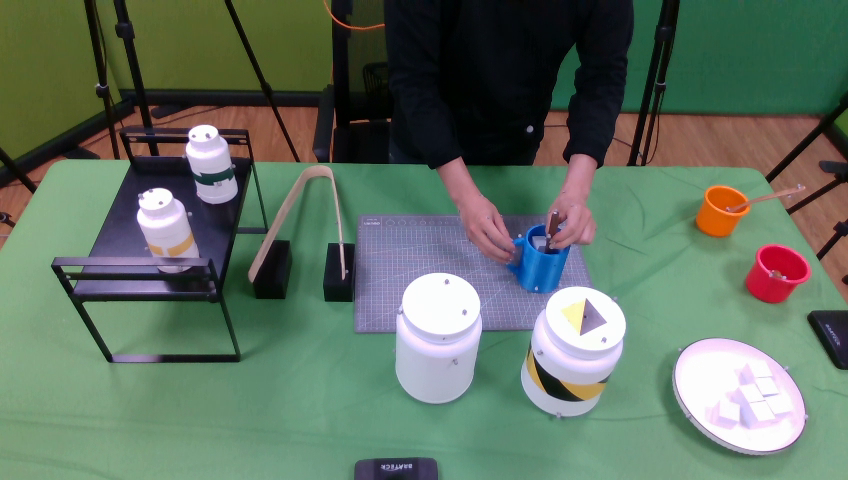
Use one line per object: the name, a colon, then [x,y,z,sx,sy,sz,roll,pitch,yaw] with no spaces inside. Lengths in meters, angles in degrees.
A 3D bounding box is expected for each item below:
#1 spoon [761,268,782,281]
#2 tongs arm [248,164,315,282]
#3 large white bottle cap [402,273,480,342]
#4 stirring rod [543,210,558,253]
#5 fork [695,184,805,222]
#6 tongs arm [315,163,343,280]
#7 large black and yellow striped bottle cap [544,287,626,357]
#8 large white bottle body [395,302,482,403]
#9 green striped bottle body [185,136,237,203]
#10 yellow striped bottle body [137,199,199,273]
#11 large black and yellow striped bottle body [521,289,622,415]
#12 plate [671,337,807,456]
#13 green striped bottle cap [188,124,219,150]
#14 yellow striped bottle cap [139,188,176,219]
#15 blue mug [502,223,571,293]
spoon: [0.638,0.060,1.105,0.041,0.021,0.194,38,11,24]
tongs arm: [-0.269,-0.048,1.165,0.028,0.028,0.385,0,34,7]
large white bottle cap: [0.024,0.095,0.878,0.115,0.018,0.114,2,47,-2]
stirring rod: [0.216,0.015,1.062,0.014,0.177,0.006,-26,50,-24]
fork: [0.657,-0.075,1.230,0.207,0.019,0.028,-23,32,37]
tongs arm: [-0.187,-0.049,1.170,0.051,0.026,0.382,-5,35,-6]
large black and yellow striped bottle cap: [0.232,0.116,0.876,0.115,0.019,0.114,2,46,-1]
large white bottle body: [0.020,0.153,0.939,0.131,0.185,0.130,2,46,-2]
green striped bottle body: [-0.341,-0.121,0.968,0.063,0.120,0.063,2,46,-2]
yellow striped bottle body: [-0.366,-0.014,0.863,0.063,0.121,0.062,2,46,-2]
large black and yellow striped bottle body: [0.228,0.173,0.938,0.131,0.185,0.130,2,47,-2]
plate: [0.503,0.254,0.984,0.208,0.039,0.206,2,46,-2]
green striped bottle cap: [-0.339,-0.158,0.931,0.044,0.020,0.044,3,47,-3]
yellow striped bottle cap: [-0.363,-0.050,0.826,0.044,0.019,0.044,1,47,0]
blue mug: [0.202,0.031,1.121,0.116,0.106,0.082,7,46,3]
